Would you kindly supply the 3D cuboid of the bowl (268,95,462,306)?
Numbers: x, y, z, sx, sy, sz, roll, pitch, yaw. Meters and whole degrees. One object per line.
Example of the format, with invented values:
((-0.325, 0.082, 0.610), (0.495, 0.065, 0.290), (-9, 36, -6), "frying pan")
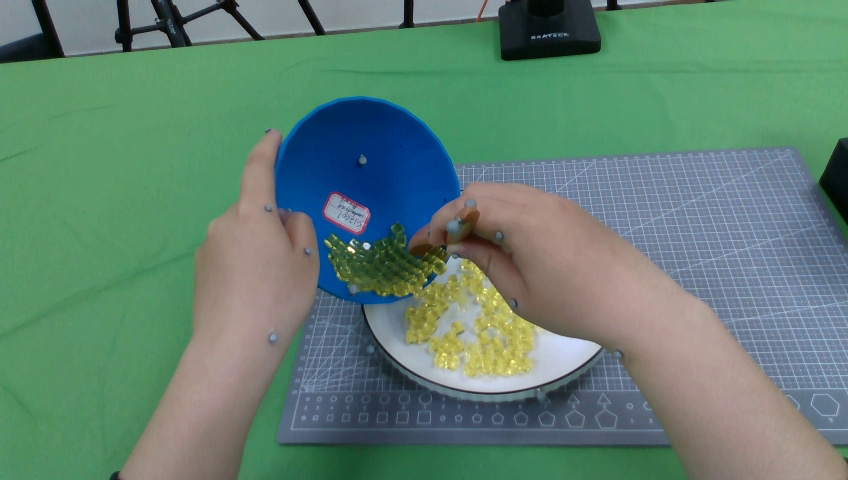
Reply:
((-0.054, -0.025, 0.462), (0.151, 0.152, 0.076), (-43, 18, -27), "bowl")

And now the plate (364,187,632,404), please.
((0.057, 0.041, 0.487), (0.207, 0.039, 0.205), (-4, 47, 5), "plate")

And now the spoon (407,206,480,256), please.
((0.015, -0.004, 0.373), (0.041, 0.193, 0.021), (-26, 91, -7), "spoon")
